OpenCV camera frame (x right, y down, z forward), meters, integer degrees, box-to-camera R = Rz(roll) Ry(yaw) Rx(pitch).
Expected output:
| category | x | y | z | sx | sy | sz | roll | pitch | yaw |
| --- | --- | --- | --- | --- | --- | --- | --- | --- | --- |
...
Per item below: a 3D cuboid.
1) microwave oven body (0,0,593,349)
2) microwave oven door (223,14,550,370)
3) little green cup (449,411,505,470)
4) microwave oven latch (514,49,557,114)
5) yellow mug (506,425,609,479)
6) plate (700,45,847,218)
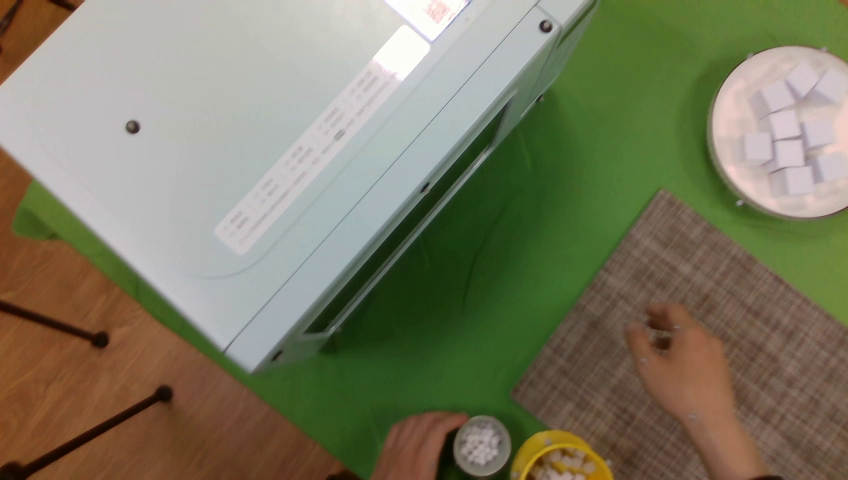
| category | x | y | z | sx | sy | sz | roll | pitch | yaw |
| --- | --- | --- | --- | --- | --- | --- | --- | --- | --- |
| microwave oven body | -0.109 | -0.155 | 0.594 | 0.325 | 0.260 | 0.441 | 41 | 85 | 3 |
| microwave oven door | -0.027 | -0.029 | 0.576 | 0.039 | 0.244 | 0.355 | 41 | 84 | 5 |
| little green cup | 0.058 | 0.218 | 0.669 | 0.061 | 0.039 | 0.061 | 0 | 85 | 2 |
| microwave oven latch | 0.118 | -0.180 | 0.698 | 0.030 | 0.029 | 0.079 | 43 | 85 | 4 |
| yellow mug | 0.129 | 0.266 | 0.650 | 0.131 | 0.064 | 0.100 | -40 | 87 | -2 |
| plate | 0.427 | -0.126 | 0.718 | 0.208 | 0.039 | 0.207 | 0 | 83 | -1 |
